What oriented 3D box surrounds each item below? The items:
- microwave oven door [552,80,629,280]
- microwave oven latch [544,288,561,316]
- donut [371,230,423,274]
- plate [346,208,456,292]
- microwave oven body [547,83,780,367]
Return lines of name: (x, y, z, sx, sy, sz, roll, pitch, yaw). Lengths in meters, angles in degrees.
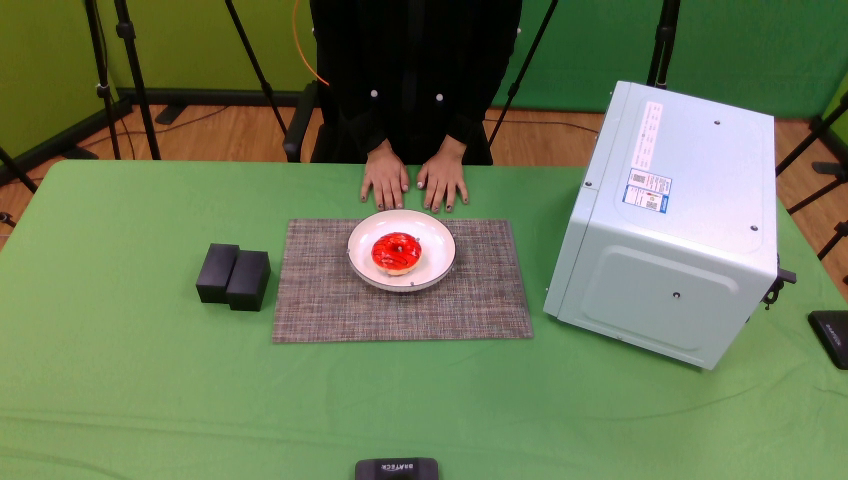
microwave oven door: (0.324, -0.116, 1.156, 0.039, 0.245, 0.354, 18, 48, 13)
microwave oven latch: (0.237, 0.098, 1.087, 0.030, 0.029, 0.079, 18, 47, 14)
donut: (-0.051, 0.022, 1.142, 0.099, 0.048, 0.098, 0, 45, 0)
plate: (-0.044, 0.021, 1.159, 0.209, 0.038, 0.208, 2, 47, -2)
microwave oven body: (0.444, -0.041, 1.101, 0.325, 0.261, 0.440, 17, 47, 13)
